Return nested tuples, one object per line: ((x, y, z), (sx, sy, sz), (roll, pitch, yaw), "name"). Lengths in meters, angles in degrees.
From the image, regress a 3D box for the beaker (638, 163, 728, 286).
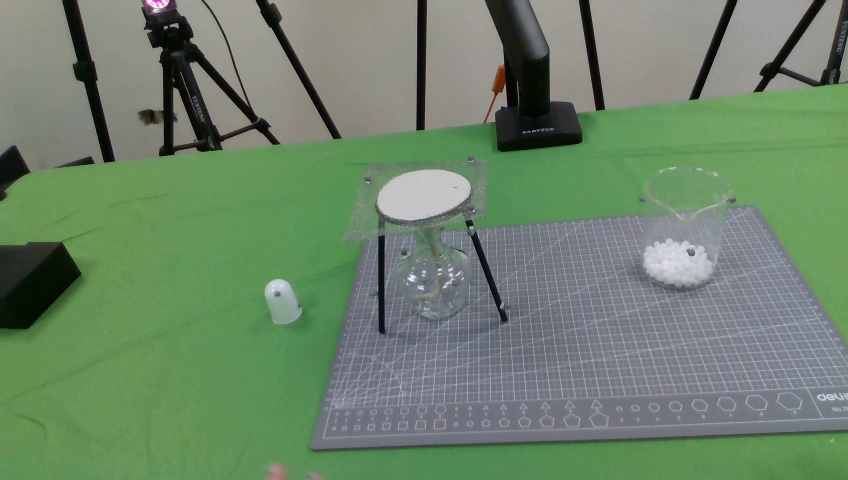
((0.244, -0.011, 0.580), (0.073, 0.101, 0.083), (4, 39, 20), "beaker")

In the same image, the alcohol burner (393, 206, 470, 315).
((0.005, 0.016, 0.590), (0.078, 0.120, 0.077), (-5, 38, 4), "alcohol burner")

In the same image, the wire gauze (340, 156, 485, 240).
((-0.006, -0.044, 0.541), (0.121, 0.011, 0.124), (-5, 35, 9), "wire gauze")

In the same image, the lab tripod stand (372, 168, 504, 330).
((0.005, 0.007, 0.584), (0.148, 0.133, 0.147), (-8, 35, 6), "lab tripod stand")

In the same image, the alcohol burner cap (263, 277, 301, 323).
((-0.151, 0.060, 0.634), (0.034, 0.048, 0.033), (-6, 37, 5), "alcohol burner cap")
